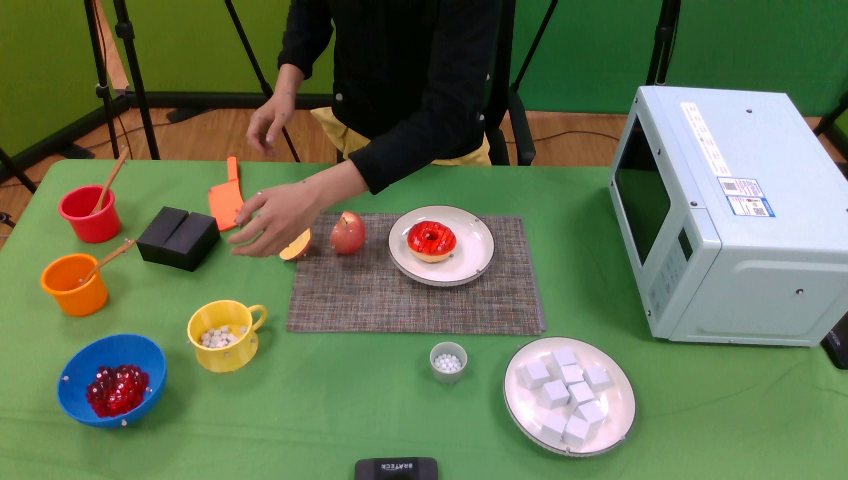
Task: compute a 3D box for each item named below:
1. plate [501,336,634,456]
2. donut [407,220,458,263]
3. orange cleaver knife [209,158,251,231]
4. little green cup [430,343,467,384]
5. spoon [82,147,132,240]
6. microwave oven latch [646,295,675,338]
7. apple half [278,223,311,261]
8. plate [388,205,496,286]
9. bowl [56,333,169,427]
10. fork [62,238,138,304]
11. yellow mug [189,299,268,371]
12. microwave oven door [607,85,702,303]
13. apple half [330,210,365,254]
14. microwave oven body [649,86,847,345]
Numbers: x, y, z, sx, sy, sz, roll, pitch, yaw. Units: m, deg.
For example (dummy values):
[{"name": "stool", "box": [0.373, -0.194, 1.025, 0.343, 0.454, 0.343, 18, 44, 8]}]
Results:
[{"name": "plate", "box": [0.225, 0.248, 0.964, 0.208, 0.039, 0.206, 2, 46, -2]}, {"name": "donut", "box": [0.016, 0.002, 1.166, 0.099, 0.048, 0.098, 3, 44, -3]}, {"name": "orange cleaver knife", "box": [-0.409, -0.098, 1.266, 0.077, 0.012, 0.210, -13, 49, -10]}, {"name": "little green cup", "box": [0.039, 0.203, 0.994, 0.061, 0.039, 0.061, 2, 46, -2]}, {"name": "spoon", "box": [-0.602, -0.089, 1.156, 0.041, 0.022, 0.193, 27, 95, 20]}, {"name": "microwave oven latch", "box": [0.412, 0.134, 1.061, 0.030, 0.029, 0.078, 4, 45, 1]}, {"name": "apple half", "box": [-0.241, 0.007, 1.157, 0.081, 0.033, 0.081, -17, 54, 25]}, {"name": "plate", "box": [0.033, 0.014, 1.171, 0.209, 0.038, 0.208, 2, 46, -2]}, {"name": "bowl", "box": [-0.456, 0.223, 0.911, 0.151, 0.077, 0.150, 3, 46, -2]}, {"name": "fork", "box": [-0.547, 0.053, 1.018, 0.207, 0.019, 0.028, -36, 41, 23]}, {"name": "yellow mug", "box": [-0.316, 0.148, 1.002, 0.131, 0.064, 0.099, -33, 56, -31]}, {"name": "microwave oven door", "box": [0.423, -0.094, 1.140, 0.039, 0.245, 0.353, 2, 46, -1]}, {"name": "apple half", "box": [-0.140, -0.009, 1.157, 0.053, 0.075, 0.080, 17, 44, 8]}, {"name": "microwave oven body", "box": [0.568, -0.053, 1.118, 0.326, 0.261, 0.439, 2, 45, -1]}]
